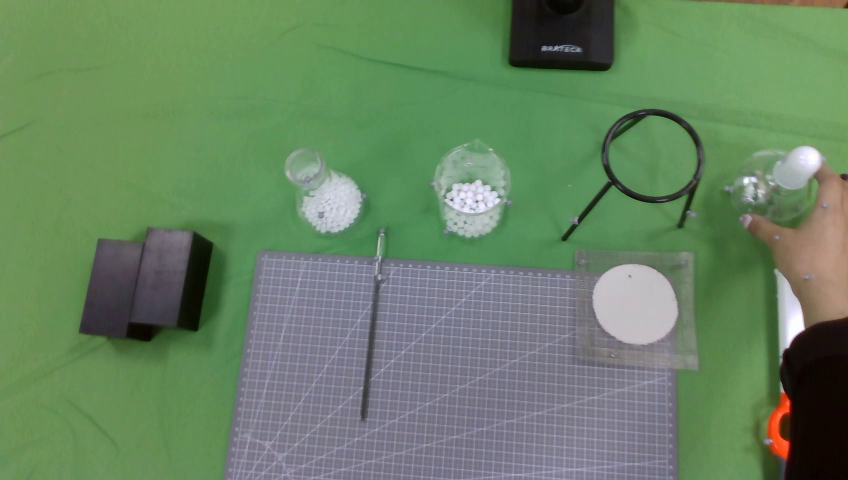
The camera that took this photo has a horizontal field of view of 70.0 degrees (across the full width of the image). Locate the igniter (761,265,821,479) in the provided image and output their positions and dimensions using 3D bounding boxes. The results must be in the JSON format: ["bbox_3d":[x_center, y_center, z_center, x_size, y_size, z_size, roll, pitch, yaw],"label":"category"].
[{"bbox_3d":[0.361,0.161,0.598,0.057,0.025,0.275,8,77,-5],"label":"igniter"}]

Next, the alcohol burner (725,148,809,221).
[{"bbox_3d":[0.353,-0.061,0.608,0.078,0.119,0.077,-1,77,4],"label":"alcohol burner"}]

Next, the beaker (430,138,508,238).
[{"bbox_3d":[0.046,-0.049,0.627,0.074,0.101,0.083,6,75,4],"label":"beaker"}]

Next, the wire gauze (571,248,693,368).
[{"bbox_3d":[0.217,0.069,0.635,0.125,0.011,0.121,3,76,3],"label":"wire gauze"}]

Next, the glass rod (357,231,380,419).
[{"bbox_3d":[-0.058,0.087,0.642,0.008,0.008,0.198,4,76,3],"label":"glass rod"}]

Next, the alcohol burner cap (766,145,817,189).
[{"bbox_3d":[0.351,-0.072,0.574,0.034,0.048,0.033,-2,72,7],"label":"alcohol burner cap"}]

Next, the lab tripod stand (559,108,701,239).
[{"bbox_3d":[0.204,-0.059,0.604,0.148,0.132,0.147,-1,78,3],"label":"lab tripod stand"}]

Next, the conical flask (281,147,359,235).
[{"bbox_3d":[-0.112,-0.055,0.624,0.075,0.122,0.075,-1,75,3],"label":"conical flask"}]
